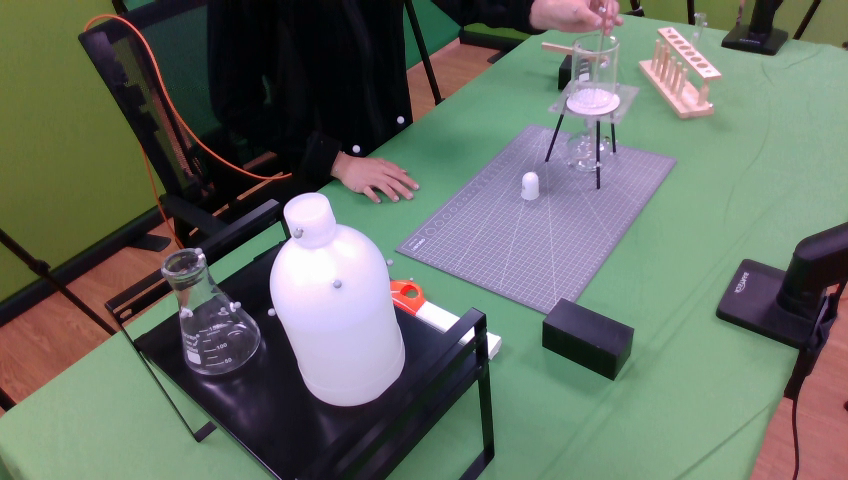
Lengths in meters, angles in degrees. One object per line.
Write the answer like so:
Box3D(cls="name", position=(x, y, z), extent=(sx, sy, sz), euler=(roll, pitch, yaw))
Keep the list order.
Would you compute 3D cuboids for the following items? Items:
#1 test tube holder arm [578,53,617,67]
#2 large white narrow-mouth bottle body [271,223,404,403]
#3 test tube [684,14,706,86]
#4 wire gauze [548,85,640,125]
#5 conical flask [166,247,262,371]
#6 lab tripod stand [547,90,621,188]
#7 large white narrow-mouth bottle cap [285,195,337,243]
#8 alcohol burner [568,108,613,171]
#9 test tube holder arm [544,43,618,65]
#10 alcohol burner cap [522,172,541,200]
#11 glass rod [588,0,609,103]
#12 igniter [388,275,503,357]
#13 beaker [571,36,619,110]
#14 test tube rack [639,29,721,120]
Box3D(cls="test tube holder arm", position=(0.376, -0.394, 1.314), extent=(0.087, 0.015, 0.010), euler=(26, 49, 32))
Box3D(cls="large white narrow-mouth bottle body", position=(-0.077, 0.048, 0.525), extent=(0.102, 0.195, 0.101), euler=(-5, 40, 4))
Box3D(cls="test tube", position=(0.541, -0.378, 1.215), extent=(0.017, 0.151, 0.017), euler=(-2, 44, 3))
Box3D(cls="wire gauze", position=(0.286, -0.233, 1.020), extent=(0.124, 0.011, 0.122), euler=(15, 43, 30))
Box3D(cls="conical flask", position=(-0.209, 0.064, 0.585), extent=(0.075, 0.122, 0.075), euler=(-4, 40, 4))
Box3D(cls="lab tripod stand", position=(0.289, -0.184, 1.062), extent=(0.148, 0.132, 0.147), euler=(-6, 41, 6))
Box3D(cls="large white narrow-mouth bottle cap", position=(-0.087, -0.017, 0.468), extent=(0.038, 0.024, 0.037), euler=(-4, 40, 4))
Box3D(cls="alcohol burner", position=(0.296, -0.182, 1.074), extent=(0.078, 0.119, 0.077), euler=(-5, 43, 5))
Box3D(cls="test tube holder arm", position=(0.345, -0.413, 1.341), extent=(0.177, 0.015, 0.013), euler=(26, 49, 32))
Box3D(cls="alcohol burner cap", position=(0.186, -0.096, 1.047), extent=(0.034, 0.048, 0.033), euler=(-5, 39, 4))
Box3D(cls="glass rod", position=(0.274, -0.306, 0.947), extent=(0.008, 0.200, 0.008), euler=(-1, 40, 1))
Box3D(cls="igniter", position=(-0.008, 0.093, 0.870), extent=(0.274, 0.025, 0.057), euler=(24, 60, 33))
Box3D(cls="beaker", position=(0.280, -0.273, 0.992), extent=(0.084, 0.101, 0.073), euler=(-24, 42, -16))
Box3D(cls="test tube rack", position=(0.527, -0.351, 1.262), extent=(0.067, 0.085, 0.241), euler=(-8, 40, 1))
